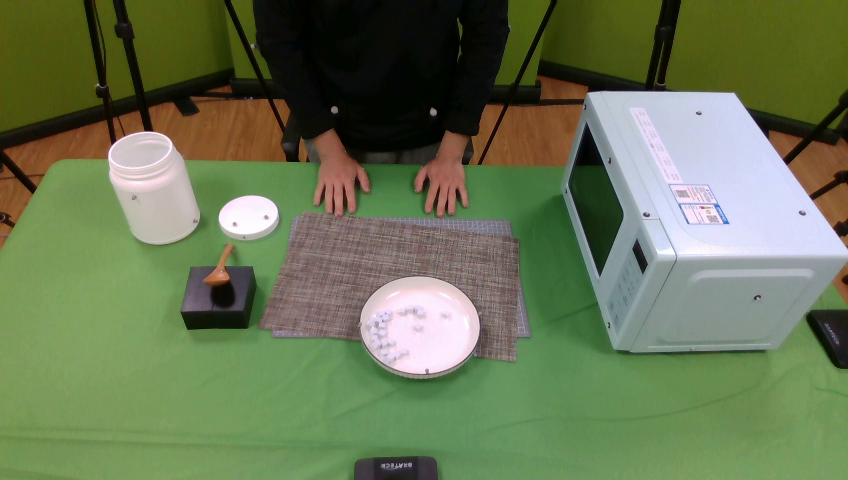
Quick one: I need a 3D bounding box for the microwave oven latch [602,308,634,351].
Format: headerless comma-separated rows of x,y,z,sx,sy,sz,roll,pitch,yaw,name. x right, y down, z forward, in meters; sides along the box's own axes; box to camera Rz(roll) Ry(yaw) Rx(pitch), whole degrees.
0.332,0.153,1.043,0.030,0.029,0.078,-1,45,-4,microwave oven latch

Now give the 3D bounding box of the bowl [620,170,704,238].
0.446,-0.057,1.166,0.151,0.077,0.150,2,46,-2,bowl

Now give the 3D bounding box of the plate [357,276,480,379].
-0.009,0.151,1.038,0.209,0.038,0.208,2,47,-2,plate

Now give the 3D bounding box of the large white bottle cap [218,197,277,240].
-0.354,-0.045,1.220,0.115,0.018,0.114,2,45,-2,large white bottle cap

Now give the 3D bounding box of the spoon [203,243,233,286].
-0.360,0.039,1.087,0.041,0.022,0.192,-5,24,-7,spoon

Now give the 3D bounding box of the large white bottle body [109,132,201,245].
-0.506,-0.097,1.141,0.131,0.185,0.130,2,46,-2,large white bottle body

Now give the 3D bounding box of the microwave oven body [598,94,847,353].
0.475,-0.041,1.109,0.326,0.261,0.438,-1,45,-4,microwave oven body

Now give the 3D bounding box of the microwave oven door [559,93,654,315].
0.327,-0.074,1.123,0.039,0.245,0.353,-1,46,-5,microwave oven door
